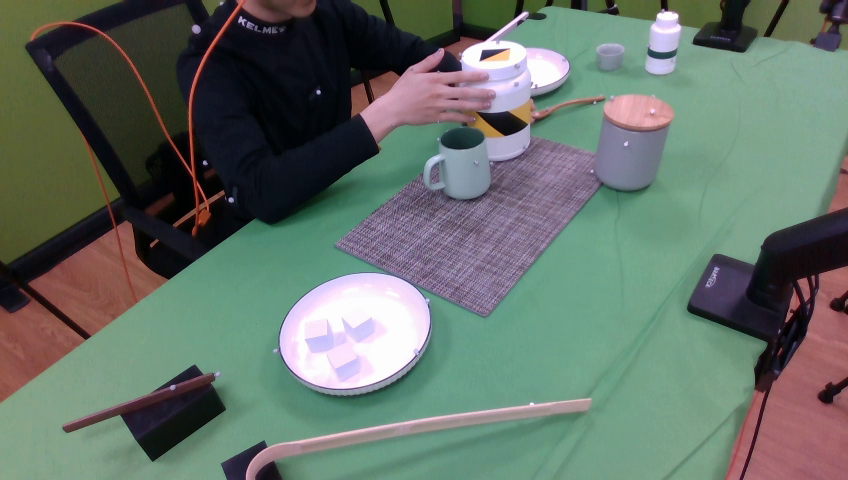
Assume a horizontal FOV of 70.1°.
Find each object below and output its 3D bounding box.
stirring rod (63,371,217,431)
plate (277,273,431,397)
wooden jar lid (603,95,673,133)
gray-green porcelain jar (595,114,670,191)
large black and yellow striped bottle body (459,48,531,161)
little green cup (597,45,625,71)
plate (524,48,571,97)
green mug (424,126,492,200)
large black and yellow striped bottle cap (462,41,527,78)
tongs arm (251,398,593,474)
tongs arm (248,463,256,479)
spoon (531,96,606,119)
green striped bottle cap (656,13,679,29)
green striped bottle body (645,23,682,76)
[{"bbox_3d":[-0.337,0.192,0.723,0.177,0.014,0.005,-18,43,-12],"label":"stirring rod"},{"bbox_3d":[-0.091,0.129,0.820,0.207,0.039,0.206,-4,40,4],"label":"plate"},{"bbox_3d":[0.343,-0.200,0.973,0.108,0.021,0.108,-2,39,2],"label":"wooden jar lid"},{"bbox_3d":[0.346,-0.154,1.017,0.106,0.127,0.105,-2,44,2],"label":"gray-green porcelain jar"},{"bbox_3d":[0.132,-0.254,1.115,0.131,0.185,0.130,-4,40,4],"label":"large black and yellow striped bottle body"},{"bbox_3d":[0.423,-0.413,1.375,0.061,0.039,0.061,-3,41,3],"label":"little green cup"},{"bbox_3d":[0.223,-0.371,1.357,0.209,0.038,0.208,-4,41,4],"label":"plate"},{"bbox_3d":[0.055,-0.125,1.039,0.126,0.105,0.091,-26,44,-20],"label":"green mug"},{"bbox_3d":[0.124,-0.318,1.063,0.115,0.019,0.114,-4,42,4],"label":"large black and yellow striped bottle cap"},{"bbox_3d":[0.008,0.212,0.675,0.389,0.028,0.028,-5,46,-11],"label":"tongs arm"},{"bbox_3d":[0.012,0.262,0.615,0.385,0.026,0.050,2,42,-2],"label":"tongs arm"},{"bbox_3d":[0.291,-0.277,1.249,0.194,0.022,0.041,-17,27,-11],"label":"spoon"},{"bbox_3d":[0.515,-0.463,1.278,0.044,0.020,0.044,-5,42,5],"label":"green striped bottle cap"},{"bbox_3d":[0.520,-0.424,1.312,0.063,0.120,0.063,-4,41,4],"label":"green striped bottle body"}]
